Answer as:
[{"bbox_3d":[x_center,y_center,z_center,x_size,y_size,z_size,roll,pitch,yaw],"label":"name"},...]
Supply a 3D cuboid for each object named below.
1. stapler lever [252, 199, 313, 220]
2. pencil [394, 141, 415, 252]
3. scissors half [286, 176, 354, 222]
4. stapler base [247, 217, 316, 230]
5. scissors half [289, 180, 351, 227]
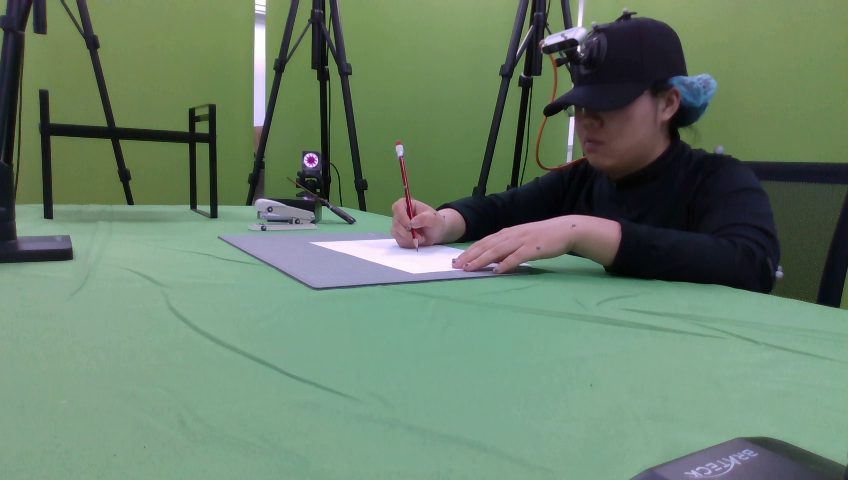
[{"bbox_3d":[-0.273,-0.058,1.170,0.119,0.040,0.026,0,10,-37],"label":"stapler lever"},{"bbox_3d":[-0.029,-0.071,0.960,0.012,0.193,0.012,-9,-20,-3],"label":"pencil"},{"bbox_3d":[-0.229,-0.091,1.337,0.175,0.013,0.040,33,16,-13],"label":"scissors half"},{"bbox_3d":[-0.276,-0.033,1.172,0.131,0.024,0.041,0,10,-37],"label":"stapler base"},{"bbox_3d":[-0.232,-0.085,1.318,0.175,0.013,0.040,38,21,4],"label":"scissors half"}]
